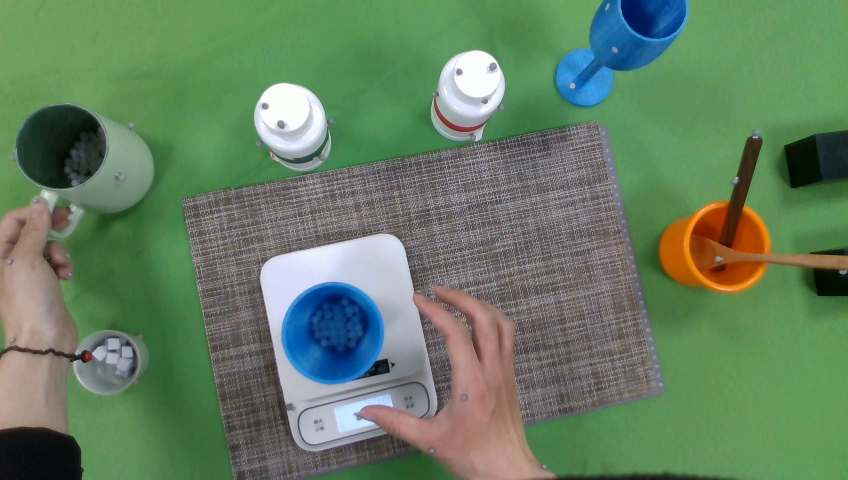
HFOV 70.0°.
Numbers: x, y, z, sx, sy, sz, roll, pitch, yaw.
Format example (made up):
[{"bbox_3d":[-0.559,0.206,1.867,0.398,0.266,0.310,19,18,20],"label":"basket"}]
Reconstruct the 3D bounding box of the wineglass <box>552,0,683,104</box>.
[{"bbox_3d":[0.180,-0.190,0.589,0.074,0.172,0.073,0,85,-4],"label":"wineglass"}]

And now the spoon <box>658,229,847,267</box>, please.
[{"bbox_3d":[0.334,0.013,0.602,0.022,0.192,0.041,0,94,-49],"label":"spoon"}]

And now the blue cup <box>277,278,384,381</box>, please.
[{"bbox_3d":[-0.080,0.076,0.548,0.093,0.100,0.092,0,88,-5],"label":"blue cup"}]

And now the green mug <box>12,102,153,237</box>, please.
[{"bbox_3d":[-0.322,-0.061,0.567,0.092,0.105,0.125,24,84,-3],"label":"green mug"}]

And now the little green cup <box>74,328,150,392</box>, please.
[{"bbox_3d":[-0.300,0.115,0.590,0.061,0.038,0.061,0,86,-6],"label":"little green cup"}]

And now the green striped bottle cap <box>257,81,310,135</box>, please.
[{"bbox_3d":[-0.122,-0.115,0.526,0.044,0.020,0.044,0,86,-4],"label":"green striped bottle cap"}]

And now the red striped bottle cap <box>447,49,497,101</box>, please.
[{"bbox_3d":[0.044,-0.149,0.546,0.044,0.018,0.044,1,82,-5],"label":"red striped bottle cap"}]

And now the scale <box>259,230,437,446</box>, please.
[{"bbox_3d":[-0.076,0.099,0.612,0.149,0.031,0.200,-12,88,-6],"label":"scale"}]

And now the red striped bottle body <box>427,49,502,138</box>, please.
[{"bbox_3d":[0.039,-0.145,0.600,0.063,0.119,0.063,0,86,-6],"label":"red striped bottle body"}]

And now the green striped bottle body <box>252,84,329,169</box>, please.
[{"bbox_3d":[-0.127,-0.109,0.581,0.063,0.119,0.063,0,86,-5],"label":"green striped bottle body"}]

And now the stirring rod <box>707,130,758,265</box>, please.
[{"bbox_3d":[0.304,-0.035,0.603,0.014,0.178,0.005,-3,45,8],"label":"stirring rod"}]
